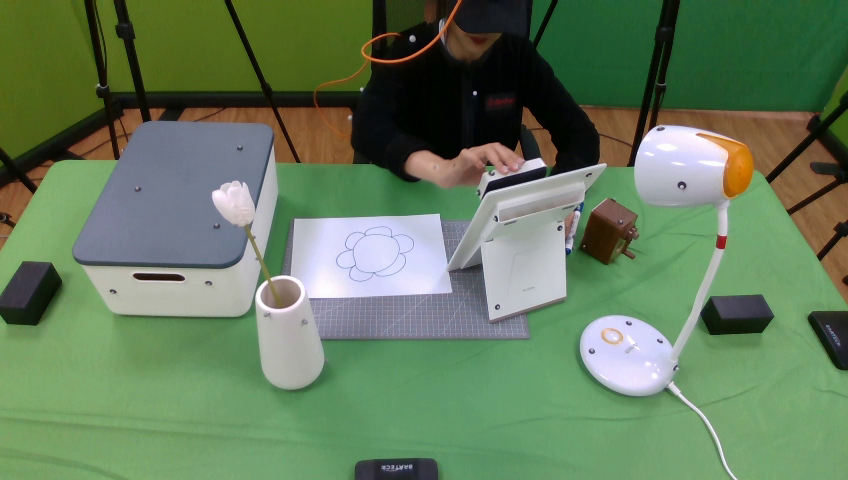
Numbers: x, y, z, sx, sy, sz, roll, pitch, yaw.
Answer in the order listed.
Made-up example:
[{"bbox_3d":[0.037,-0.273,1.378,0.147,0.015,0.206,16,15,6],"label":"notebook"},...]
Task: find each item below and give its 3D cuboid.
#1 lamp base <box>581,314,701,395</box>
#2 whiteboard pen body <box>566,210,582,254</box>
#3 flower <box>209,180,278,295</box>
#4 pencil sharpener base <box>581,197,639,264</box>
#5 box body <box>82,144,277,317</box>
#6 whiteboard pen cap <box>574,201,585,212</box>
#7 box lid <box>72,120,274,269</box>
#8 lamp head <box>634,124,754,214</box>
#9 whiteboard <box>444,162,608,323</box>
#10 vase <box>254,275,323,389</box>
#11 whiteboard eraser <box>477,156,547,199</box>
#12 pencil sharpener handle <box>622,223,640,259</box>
[{"bbox_3d":[0.361,0.144,0.973,0.178,0.181,0.160,34,53,23],"label":"lamp base"},{"bbox_3d":[0.309,-0.025,1.241,0.017,0.017,0.140,17,51,12],"label":"whiteboard pen body"},{"bbox_3d":[-0.216,0.075,0.871,0.044,0.363,0.038,-29,36,-19],"label":"flower"},{"bbox_3d":[0.362,-0.017,1.179,0.076,0.107,0.061,37,54,27],"label":"pencil sharpener base"},{"bbox_3d":[-0.422,-0.041,1.108,0.254,0.161,0.361,2,46,-3],"label":"box body"},{"bbox_3d":[0.327,-0.069,1.278,0.018,0.018,0.033,18,51,13],"label":"whiteboard pen cap"},{"bbox_3d":[-0.417,-0.094,1.056,0.263,0.015,0.369,1,47,-3],"label":"box lid"},{"bbox_3d":[0.351,-0.089,0.776,0.112,0.113,0.122,-30,30,-28],"label":"lamp head"},{"bbox_3d":[0.186,0.025,1.029,0.217,0.306,0.143,-14,68,-17],"label":"whiteboard"},{"bbox_3d":[-0.209,0.143,0.921,0.098,0.201,0.097,1,46,-1],"label":"vase"},{"bbox_3d":[0.145,-0.098,0.986,0.113,0.056,0.041,-16,67,-19],"label":"whiteboard eraser"},{"bbox_3d":[0.397,0.003,1.146,0.030,0.068,0.036,37,46,27],"label":"pencil sharpener handle"}]
